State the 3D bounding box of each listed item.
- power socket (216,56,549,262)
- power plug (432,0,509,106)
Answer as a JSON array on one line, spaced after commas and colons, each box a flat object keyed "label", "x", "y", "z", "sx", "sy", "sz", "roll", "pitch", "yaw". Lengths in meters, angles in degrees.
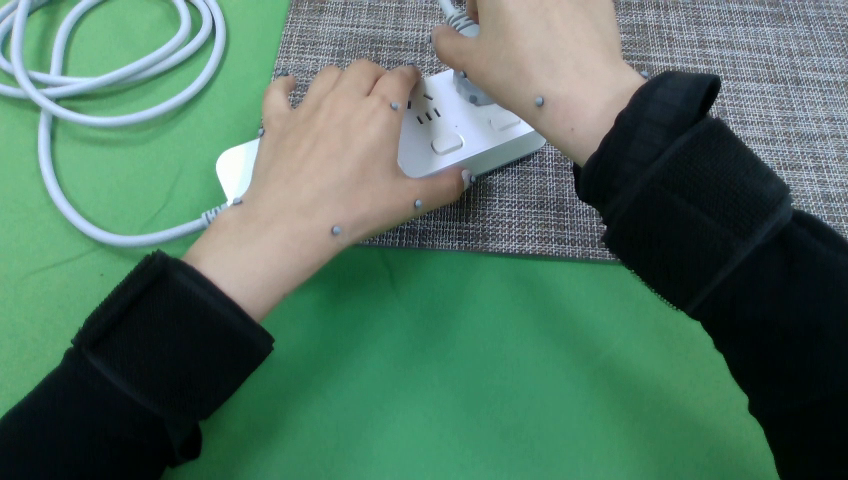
[{"label": "power socket", "x": -0.022, "y": -0.056, "z": 0.389, "sx": 0.227, "sy": 0.033, "sz": 0.071, "roll": -24, "pitch": 64, "yaw": -13}, {"label": "power plug", "x": 0.031, "y": -0.120, "z": 0.399, "sx": 0.035, "sy": 0.053, "sz": 0.072, "roll": -14, "pitch": 65, "yaw": -7}]
